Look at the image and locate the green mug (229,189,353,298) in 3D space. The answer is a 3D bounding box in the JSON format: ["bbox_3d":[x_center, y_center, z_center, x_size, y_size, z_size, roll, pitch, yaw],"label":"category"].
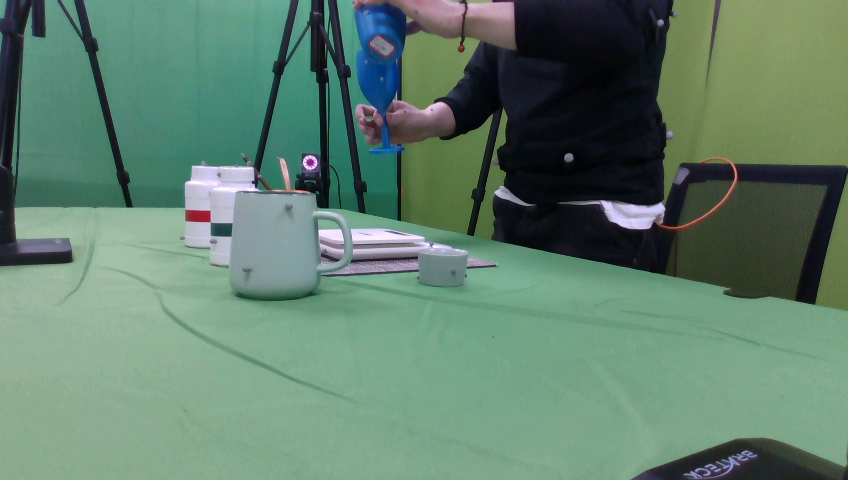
[{"bbox_3d":[-0.135,0.002,0.618,0.125,0.105,0.092,2,7,4],"label":"green mug"}]

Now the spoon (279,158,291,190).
[{"bbox_3d":[-0.280,-0.103,1.251,0.042,0.193,0.021,7,-40,-30],"label":"spoon"}]

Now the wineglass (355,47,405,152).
[{"bbox_3d":[-0.075,-0.244,1.044,0.074,0.172,0.073,-6,14,2],"label":"wineglass"}]

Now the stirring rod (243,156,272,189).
[{"bbox_3d":[-0.304,-0.099,1.201,0.006,0.177,0.014,-27,37,7],"label":"stirring rod"}]

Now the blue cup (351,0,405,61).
[{"bbox_3d":[-0.067,-0.330,0.929,0.093,0.100,0.093,-6,-34,-4],"label":"blue cup"}]

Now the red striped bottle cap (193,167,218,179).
[{"bbox_3d":[-0.329,-0.103,0.921,0.044,0.017,0.044,-1,9,0],"label":"red striped bottle cap"}]

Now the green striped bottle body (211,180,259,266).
[{"bbox_3d":[-0.243,-0.029,0.784,0.063,0.119,0.063,2,7,0],"label":"green striped bottle body"}]

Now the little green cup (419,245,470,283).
[{"bbox_3d":[0.023,0.028,0.712,0.061,0.038,0.061,1,6,0],"label":"little green cup"}]

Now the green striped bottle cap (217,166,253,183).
[{"bbox_3d":[-0.242,-0.085,0.777,0.044,0.020,0.044,2,9,0],"label":"green striped bottle cap"}]

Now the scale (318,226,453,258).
[{"bbox_3d":[-0.066,0.001,0.906,0.202,0.031,0.148,-2,8,-31],"label":"scale"}]

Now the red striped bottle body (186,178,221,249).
[{"bbox_3d":[-0.331,-0.049,0.928,0.063,0.119,0.063,2,7,0],"label":"red striped bottle body"}]
